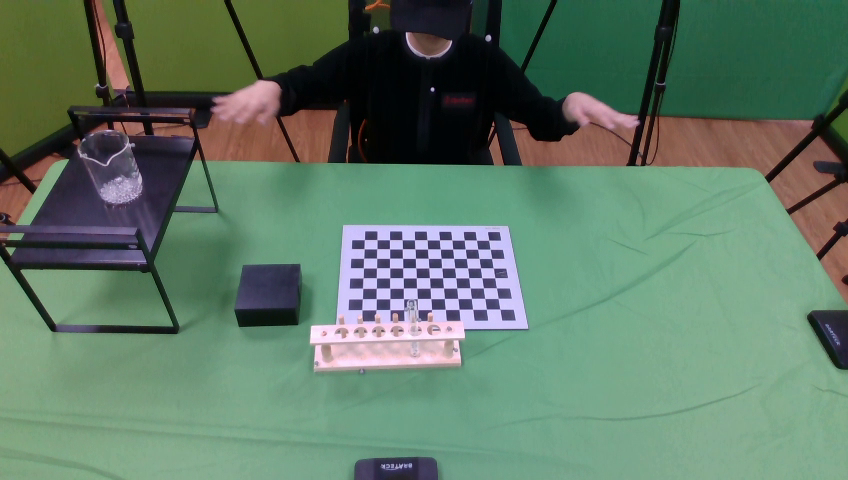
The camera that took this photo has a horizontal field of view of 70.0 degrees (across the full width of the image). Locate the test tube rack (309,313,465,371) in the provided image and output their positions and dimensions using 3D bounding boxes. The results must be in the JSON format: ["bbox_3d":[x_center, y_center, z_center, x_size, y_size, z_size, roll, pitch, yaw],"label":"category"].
[{"bbox_3d":[-0.059,0.161,0.990,0.242,0.085,0.066,-1,46,-5],"label":"test tube rack"}]

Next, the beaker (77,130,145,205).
[{"bbox_3d":[-0.493,-0.111,0.965,0.074,0.101,0.083,-14,49,-16],"label":"beaker"}]

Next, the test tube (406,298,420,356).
[{"bbox_3d":[-0.017,0.139,0.945,0.017,0.151,0.017,-1,50,1],"label":"test tube"}]
